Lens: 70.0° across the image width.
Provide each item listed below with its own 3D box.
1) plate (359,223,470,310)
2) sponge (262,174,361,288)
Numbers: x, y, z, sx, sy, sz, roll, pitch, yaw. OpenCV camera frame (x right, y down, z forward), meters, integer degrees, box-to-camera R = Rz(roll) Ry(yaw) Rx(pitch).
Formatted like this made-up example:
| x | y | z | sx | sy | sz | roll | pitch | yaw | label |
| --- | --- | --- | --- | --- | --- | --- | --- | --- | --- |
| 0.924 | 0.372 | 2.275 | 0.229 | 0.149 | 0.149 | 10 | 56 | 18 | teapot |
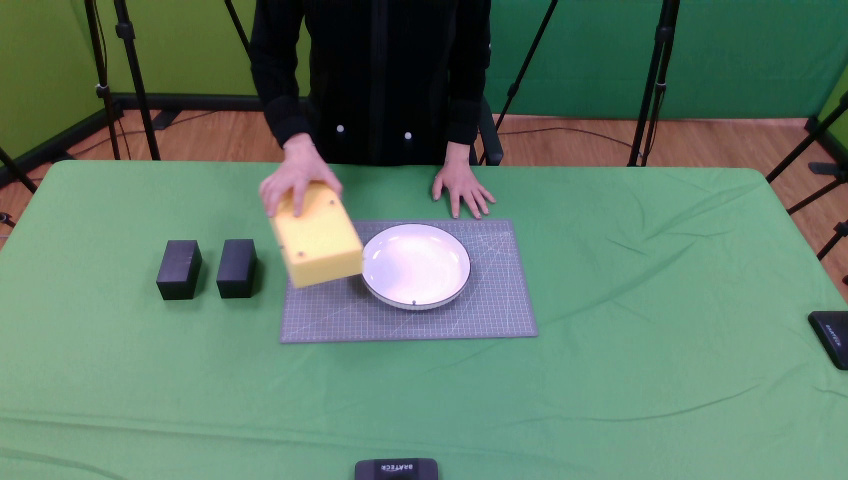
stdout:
| x | y | z | sx | sy | sz | roll | pitch | yaw | label |
| --- | --- | --- | --- | --- | --- | --- | --- | --- | --- |
| -0.019 | 0.052 | 1.132 | 0.209 | 0.038 | 0.208 | 2 | 46 | -2 | plate |
| -0.197 | -0.020 | 1.045 | 0.118 | 0.061 | 0.205 | -14 | 47 | -20 | sponge |
